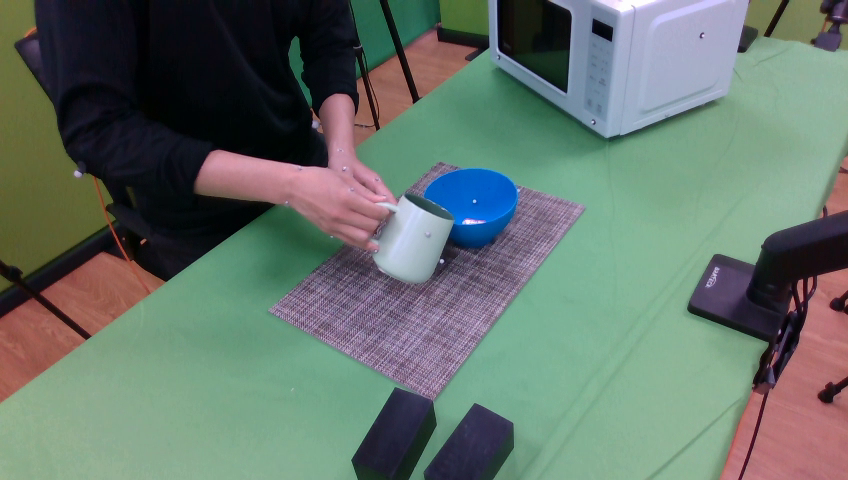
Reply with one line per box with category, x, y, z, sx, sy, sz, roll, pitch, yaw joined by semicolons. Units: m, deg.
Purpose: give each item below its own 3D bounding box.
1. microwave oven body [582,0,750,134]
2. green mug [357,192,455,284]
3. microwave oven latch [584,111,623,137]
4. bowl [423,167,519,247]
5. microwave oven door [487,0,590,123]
microwave oven body;0.382;-0.444;1.246;0.327;0.261;0.437;-22;42;-16
green mug;-0.029;-0.007;0.826;0.126;0.105;0.092;20;18;-22
microwave oven latch;0.337;-0.222;1.142;0.030;0.029;0.078;-21;42;-14
bowl;0.076;-0.041;0.958;0.151;0.077;0.150;-4;40;3
microwave oven door;0.232;-0.420;1.231;0.039;0.245;0.352;-22;43;-16
